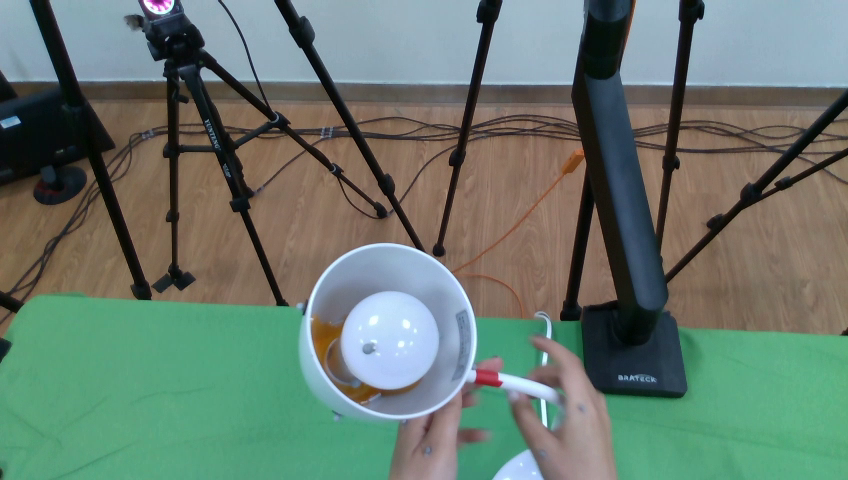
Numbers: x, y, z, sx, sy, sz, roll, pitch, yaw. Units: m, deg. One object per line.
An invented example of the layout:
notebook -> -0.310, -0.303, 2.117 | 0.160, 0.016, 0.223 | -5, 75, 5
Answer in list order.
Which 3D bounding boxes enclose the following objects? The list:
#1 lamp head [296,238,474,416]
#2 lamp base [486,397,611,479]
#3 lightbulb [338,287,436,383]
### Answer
lamp head -> -0.035, 0.071, 0.420 | 0.113, 0.123, 0.111 | 7, 65, -15
lamp base -> 0.132, 0.246, 0.608 | 0.161, 0.182, 0.177 | -7, 51, -1
lightbulb -> -0.032, 0.066, 0.396 | 0.060, 0.107, 0.059 | 8, 70, -22
